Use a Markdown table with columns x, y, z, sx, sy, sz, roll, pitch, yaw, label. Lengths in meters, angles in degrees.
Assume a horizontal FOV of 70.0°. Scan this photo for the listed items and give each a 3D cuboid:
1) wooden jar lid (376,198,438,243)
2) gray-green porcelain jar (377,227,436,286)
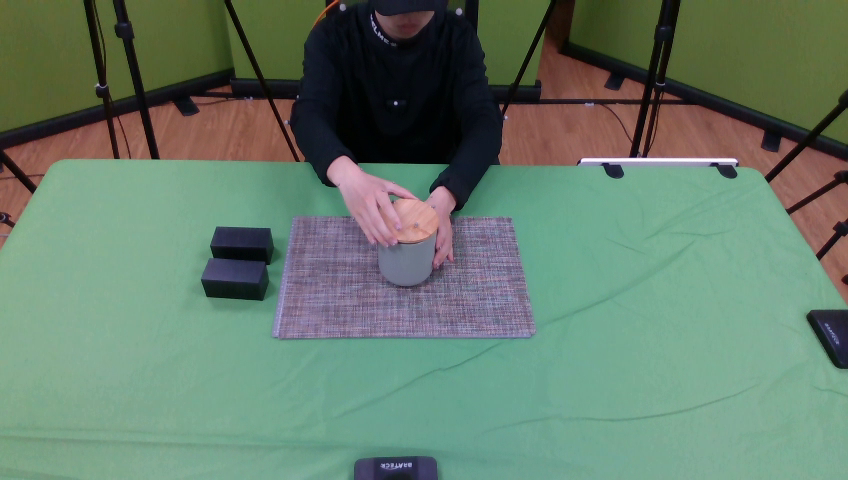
| x | y | z | sx | sy | sz | roll | pitch | yaw | label |
| --- | --- | --- | --- | --- | --- | --- | --- | --- | --- |
| -0.029 | -0.031 | 1.059 | 0.108 | 0.021 | 0.107 | 2 | 44 | -2 | wooden jar lid |
| -0.033 | 0.013 | 1.106 | 0.106 | 0.127 | 0.105 | 2 | 46 | -2 | gray-green porcelain jar |
